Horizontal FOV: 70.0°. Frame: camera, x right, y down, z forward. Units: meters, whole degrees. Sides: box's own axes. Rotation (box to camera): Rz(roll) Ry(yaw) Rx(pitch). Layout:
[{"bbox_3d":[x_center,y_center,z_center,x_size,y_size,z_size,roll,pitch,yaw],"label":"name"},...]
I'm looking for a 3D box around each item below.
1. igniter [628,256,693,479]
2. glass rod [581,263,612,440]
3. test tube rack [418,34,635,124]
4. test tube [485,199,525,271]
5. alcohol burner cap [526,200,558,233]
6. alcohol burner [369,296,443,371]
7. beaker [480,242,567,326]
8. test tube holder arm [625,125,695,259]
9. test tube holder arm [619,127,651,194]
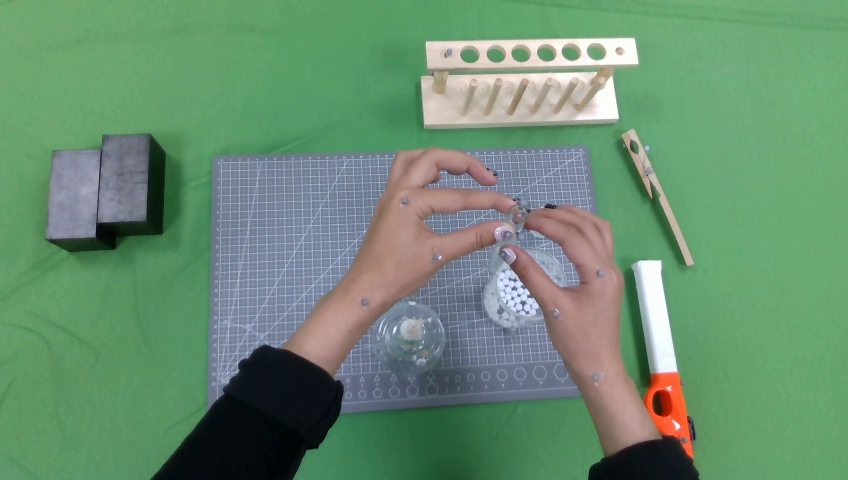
[{"bbox_3d":[0.263,0.153,0.676,0.057,0.025,0.275,0,76,-15],"label":"igniter"},{"bbox_3d":[0.194,0.122,0.684,0.008,0.008,0.198,-3,76,-6],"label":"glass rod"},{"bbox_3d":[0.118,-0.189,0.719,0.243,0.085,0.066,-3,76,-6],"label":"test tube rack"},{"bbox_3d":[0.065,0.000,0.510,0.017,0.151,0.017,0,72,0],"label":"test tube"},{"bbox_3d":[0.138,-0.029,0.700,0.034,0.048,0.033,1,76,-4],"label":"alcohol burner cap"},{"bbox_3d":[-0.018,0.093,0.619,0.078,0.119,0.077,1,73,-4],"label":"alcohol burner"},{"bbox_3d":[0.099,0.049,0.647,0.074,0.100,0.083,-35,80,-13],"label":"beaker"},{"bbox_3d":[0.284,-0.059,0.734,0.013,0.015,0.177,-29,78,24],"label":"test tube holder arm"},{"bbox_3d":[0.262,-0.097,0.744,0.010,0.015,0.087,-27,79,24],"label":"test tube holder arm"}]
